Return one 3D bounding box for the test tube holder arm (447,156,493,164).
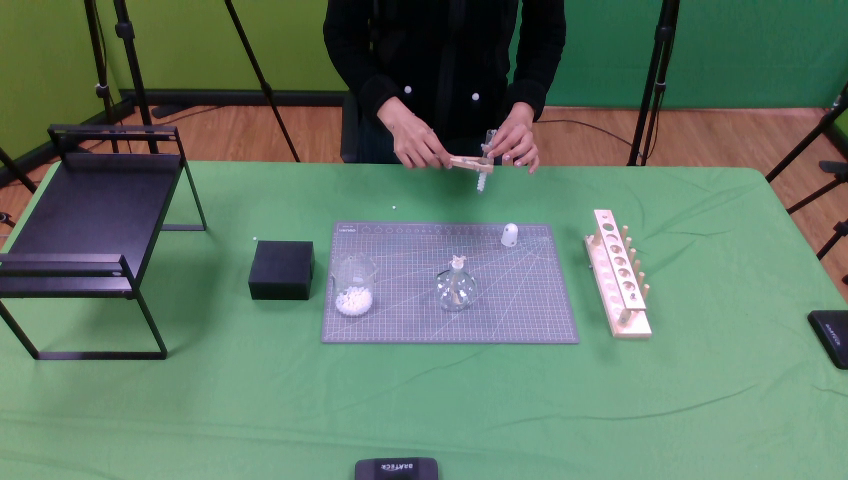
[{"bbox_3d":[0.087,-0.150,1.151,0.088,0.015,0.010,3,43,-2],"label":"test tube holder arm"}]

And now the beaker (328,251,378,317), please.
[{"bbox_3d":[-0.123,0.079,1.055,0.084,0.101,0.073,0,47,-5],"label":"beaker"}]

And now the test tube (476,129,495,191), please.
[{"bbox_3d":[0.115,-0.148,1.144,0.017,0.151,0.017,3,50,-3],"label":"test tube"}]

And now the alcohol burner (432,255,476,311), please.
[{"bbox_3d":[0.055,0.070,1.068,0.078,0.119,0.077,3,45,-3],"label":"alcohol burner"}]

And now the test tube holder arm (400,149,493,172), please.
[{"bbox_3d":[0.042,-0.151,1.149,0.178,0.015,0.013,9,43,4],"label":"test tube holder arm"}]

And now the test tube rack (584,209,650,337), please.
[{"bbox_3d":[0.365,0.056,1.129,0.067,0.085,0.240,1,46,-4],"label":"test tube rack"}]

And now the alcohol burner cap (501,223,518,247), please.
[{"bbox_3d":[0.172,-0.013,1.206,0.034,0.048,0.033,1,46,-1],"label":"alcohol burner cap"}]
